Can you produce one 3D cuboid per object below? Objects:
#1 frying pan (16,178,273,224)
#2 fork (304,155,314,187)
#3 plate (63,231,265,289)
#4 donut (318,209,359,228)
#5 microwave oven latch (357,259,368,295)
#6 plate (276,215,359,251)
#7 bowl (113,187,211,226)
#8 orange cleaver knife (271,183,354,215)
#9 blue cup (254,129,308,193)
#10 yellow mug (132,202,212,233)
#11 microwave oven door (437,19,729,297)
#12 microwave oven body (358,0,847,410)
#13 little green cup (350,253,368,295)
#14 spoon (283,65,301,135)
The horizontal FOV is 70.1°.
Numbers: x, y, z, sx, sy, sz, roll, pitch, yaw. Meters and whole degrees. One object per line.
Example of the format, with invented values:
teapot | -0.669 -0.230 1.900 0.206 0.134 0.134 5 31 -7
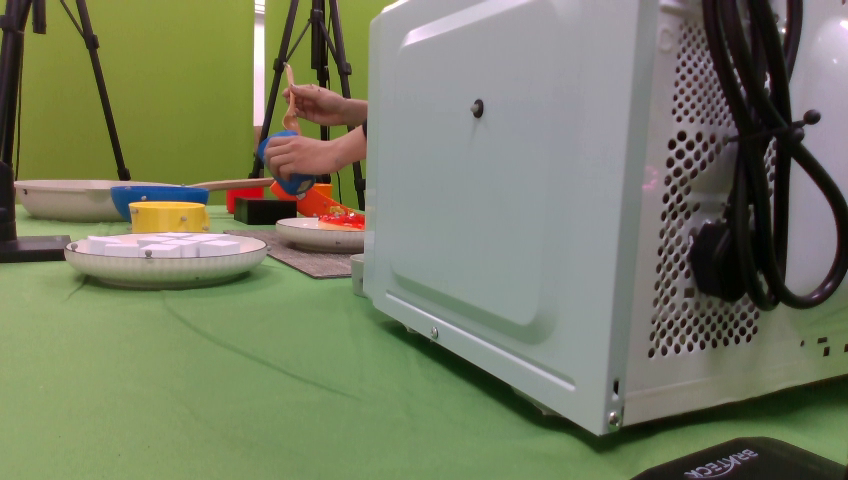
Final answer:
frying pan | -0.554 -0.097 1.266 0.490 0.102 0.305 -10 13 -24
fork | -0.268 -0.134 1.446 0.028 0.018 0.207 2 -36 -1
plate | -0.288 0.021 0.687 0.208 0.039 0.207 2 8 0
donut | -0.118 -0.023 0.954 0.099 0.048 0.099 5 6 0
microwave oven latch | -0.019 0.031 0.529 0.079 0.029 0.030 -1 7 -26
plate | -0.126 -0.012 0.950 0.209 0.038 0.209 2 7 0
bowl | -0.436 -0.046 1.013 0.151 0.077 0.151 2 7 0
orange cleaver knife | -0.237 -0.084 1.333 0.212 0.077 0.012 31 -9 -32
blue cup | -0.264 -0.146 1.147 0.092 0.100 0.092 -19 2 1
yellow mug | -0.356 -0.020 0.878 0.099 0.064 0.131 5 7 21
microwave oven door | 0.180 -0.076 0.618 0.358 0.243 0.039 -2 9 -28
microwave oven body | 0.210 -0.051 0.471 0.444 0.260 0.324 -1 7 -28
little green cup | -0.048 0.035 0.632 0.061 0.038 0.061 3 6 0
spoon | -0.268 -0.286 1.227 0.042 0.193 0.021 19 -38 -39
